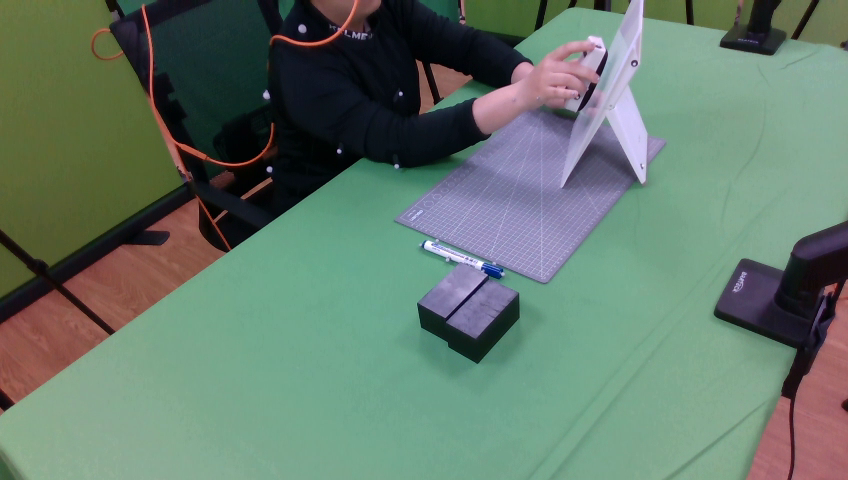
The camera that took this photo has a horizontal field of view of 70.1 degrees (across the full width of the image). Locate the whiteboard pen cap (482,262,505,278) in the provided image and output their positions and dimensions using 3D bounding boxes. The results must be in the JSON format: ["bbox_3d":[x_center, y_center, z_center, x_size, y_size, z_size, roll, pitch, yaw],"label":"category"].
[{"bbox_3d":[0.104,0.045,0.912,0.033,0.018,0.018,21,48,29],"label":"whiteboard pen cap"}]

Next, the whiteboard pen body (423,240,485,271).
[{"bbox_3d":[0.057,0.027,0.942,0.139,0.017,0.017,22,48,30],"label":"whiteboard pen body"}]

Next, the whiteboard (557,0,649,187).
[{"bbox_3d":[0.361,-0.238,1.026,0.144,0.306,0.217,21,44,4],"label":"whiteboard"}]

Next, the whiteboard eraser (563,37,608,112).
[{"bbox_3d":[0.268,-0.272,0.999,0.042,0.113,0.055,15,40,-3],"label":"whiteboard eraser"}]
